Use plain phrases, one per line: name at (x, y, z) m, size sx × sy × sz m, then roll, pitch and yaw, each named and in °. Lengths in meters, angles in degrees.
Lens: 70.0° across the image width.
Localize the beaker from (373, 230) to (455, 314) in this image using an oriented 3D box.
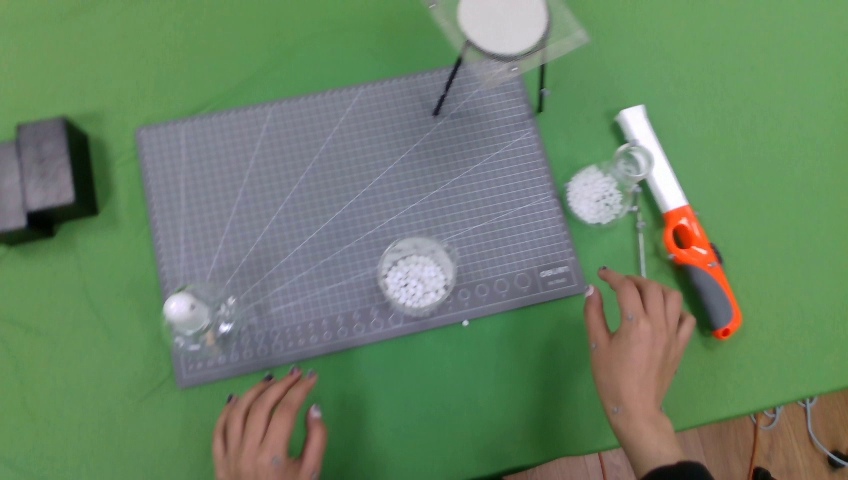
beaker at (-0.009, 0.035, 0.617) m, size 0.084 × 0.100 × 0.073 m, roll -31°, pitch 81°, yaw -9°

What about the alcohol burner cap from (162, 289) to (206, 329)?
alcohol burner cap at (-0.222, 0.061, 0.557) m, size 0.034 × 0.048 × 0.033 m, roll 2°, pitch 69°, yaw -6°

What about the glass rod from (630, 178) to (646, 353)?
glass rod at (0.239, 0.026, 0.679) m, size 0.008 × 0.008 × 0.199 m, roll 1°, pitch 78°, yaw -3°

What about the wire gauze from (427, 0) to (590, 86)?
wire gauze at (0.080, -0.223, 0.590) m, size 0.125 × 0.011 × 0.121 m, roll -29°, pitch 83°, yaw -8°

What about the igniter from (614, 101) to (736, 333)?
igniter at (0.283, -0.030, 0.683) m, size 0.057 × 0.025 × 0.275 m, roll -17°, pitch 80°, yaw -17°

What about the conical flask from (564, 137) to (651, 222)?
conical flask at (0.198, -0.068, 0.639) m, size 0.075 × 0.122 × 0.075 m, roll 0°, pitch 78°, yaw -2°

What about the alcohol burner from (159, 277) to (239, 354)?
alcohol burner at (-0.224, 0.071, 0.592) m, size 0.078 × 0.119 × 0.077 m, roll 1°, pitch 76°, yaw -4°

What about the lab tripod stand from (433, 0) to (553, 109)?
lab tripod stand at (0.076, -0.205, 0.654) m, size 0.148 × 0.132 × 0.147 m, roll 1°, pitch 79°, yaw -4°
